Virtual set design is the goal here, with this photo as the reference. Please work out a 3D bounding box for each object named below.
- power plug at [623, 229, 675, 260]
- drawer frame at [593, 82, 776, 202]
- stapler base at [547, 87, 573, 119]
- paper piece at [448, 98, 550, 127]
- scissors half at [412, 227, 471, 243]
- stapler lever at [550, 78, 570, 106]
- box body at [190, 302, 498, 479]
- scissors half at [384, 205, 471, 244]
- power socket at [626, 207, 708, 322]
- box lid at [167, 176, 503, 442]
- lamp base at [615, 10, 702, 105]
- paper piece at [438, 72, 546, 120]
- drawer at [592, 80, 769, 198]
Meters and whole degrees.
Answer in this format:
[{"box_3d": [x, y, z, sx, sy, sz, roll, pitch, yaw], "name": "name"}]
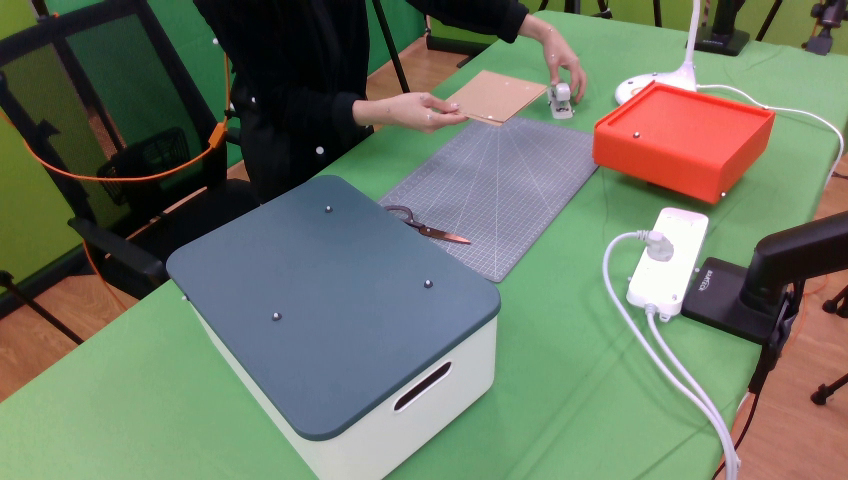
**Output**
[{"box_3d": [0.327, 0.007, 0.878, 0.072, 0.053, 0.035, 25, 51, 33], "name": "power plug"}, {"box_3d": [0.428, -0.171, 1.006, 0.211, 0.083, 0.202, 29, 51, 36], "name": "drawer frame"}, {"box_3d": [0.289, -0.299, 1.286, 0.041, 0.024, 0.130, -2, 39, 3], "name": "stapler base"}, {"box_3d": [0.120, -0.231, 1.028, 0.136, 0.004, 0.134, -29, 43, -33], "name": "paper piece"}, {"box_3d": [-0.007, -0.010, 0.993, 0.174, 0.013, 0.040, 8, 47, 15], "name": "scissors half"}, {"box_3d": [0.286, -0.320, 1.270, 0.027, 0.040, 0.117, -2, 39, 4], "name": "stapler lever"}, {"box_3d": [-0.110, 0.103, 0.761, 0.255, 0.161, 0.361, -33, 46, -27], "name": "box body"}, {"box_3d": [0.001, -0.024, 1.005, 0.174, 0.013, 0.040, 23, 58, 25], "name": "scissors half"}, {"box_3d": [0.360, 0.026, 0.886, 0.072, 0.033, 0.227, 16, 46, 26], "name": "power socket"}, {"box_3d": [-0.119, 0.047, 0.714, 0.264, 0.015, 0.368, -32, 47, -27], "name": "box lid"}, {"box_3d": [0.484, -0.364, 1.211, 0.180, 0.181, 0.159, -15, 41, -14], "name": "lamp base"}, {"box_3d": [0.117, -0.246, 1.027, 0.137, 0.009, 0.136, 23, 47, 34], "name": "paper piece"}, {"box_3d": [0.423, -0.174, 1.008, 0.210, 0.073, 0.195, 30, 52, 35], "name": "drawer"}]
